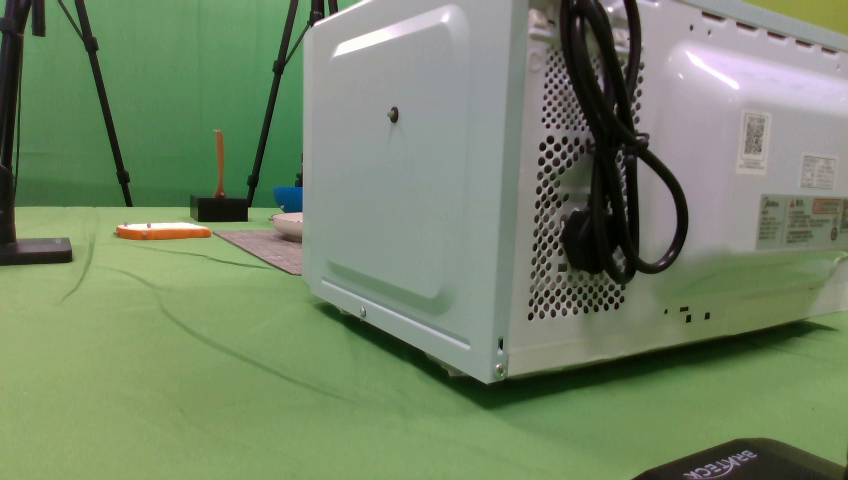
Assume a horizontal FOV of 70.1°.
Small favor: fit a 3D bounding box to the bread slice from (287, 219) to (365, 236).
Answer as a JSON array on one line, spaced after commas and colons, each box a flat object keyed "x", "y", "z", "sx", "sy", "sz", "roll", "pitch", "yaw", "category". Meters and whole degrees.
[{"x": -0.170, "y": -0.022, "z": 1.056, "sx": 0.134, "sy": 0.018, "sz": 0.107, "roll": 2, "pitch": 7, "yaw": -6, "category": "bread slice"}]

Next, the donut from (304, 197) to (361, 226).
[{"x": -0.159, "y": -0.050, "z": 1.055, "sx": 0.099, "sy": 0.048, "sz": 0.099, "roll": 3, "pitch": 8, "yaw": 0, "category": "donut"}]

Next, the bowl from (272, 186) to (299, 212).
[{"x": -0.254, "y": -0.075, "z": 1.318, "sx": 0.151, "sy": 0.077, "sz": 0.151, "roll": 2, "pitch": 7, "yaw": 0, "category": "bowl"}]

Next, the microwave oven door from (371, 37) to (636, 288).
[{"x": 0.109, "y": -0.080, "z": 0.686, "sx": 0.358, "sy": 0.243, "sz": 0.039, "roll": -2, "pitch": 9, "yaw": -33, "category": "microwave oven door"}]

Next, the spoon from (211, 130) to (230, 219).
[{"x": -0.436, "y": -0.138, "z": 1.296, "sx": 0.042, "sy": 0.193, "sz": 0.021, "roll": -3, "pitch": 23, "yaw": -27, "category": "spoon"}]

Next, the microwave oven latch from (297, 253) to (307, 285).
[{"x": -0.081, "y": 0.027, "z": 0.582, "sx": 0.079, "sy": 0.029, "sz": 0.030, "roll": -1, "pitch": 7, "yaw": -32, "category": "microwave oven latch"}]

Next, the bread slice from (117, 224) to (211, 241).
[{"x": -0.443, "y": -0.015, "z": 1.022, "sx": 0.132, "sy": 0.019, "sz": 0.104, "roll": -3, "pitch": 8, "yaw": -45, "category": "bread slice"}]

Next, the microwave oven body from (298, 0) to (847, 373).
[{"x": 0.151, "y": -0.055, "z": 0.542, "sx": 0.444, "sy": 0.260, "sz": 0.324, "roll": -2, "pitch": 7, "yaw": -33, "category": "microwave oven body"}]

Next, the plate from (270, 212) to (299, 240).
[{"x": -0.162, "y": -0.022, "z": 1.058, "sx": 0.208, "sy": 0.039, "sz": 0.207, "roll": 2, "pitch": 7, "yaw": 0, "category": "plate"}]
